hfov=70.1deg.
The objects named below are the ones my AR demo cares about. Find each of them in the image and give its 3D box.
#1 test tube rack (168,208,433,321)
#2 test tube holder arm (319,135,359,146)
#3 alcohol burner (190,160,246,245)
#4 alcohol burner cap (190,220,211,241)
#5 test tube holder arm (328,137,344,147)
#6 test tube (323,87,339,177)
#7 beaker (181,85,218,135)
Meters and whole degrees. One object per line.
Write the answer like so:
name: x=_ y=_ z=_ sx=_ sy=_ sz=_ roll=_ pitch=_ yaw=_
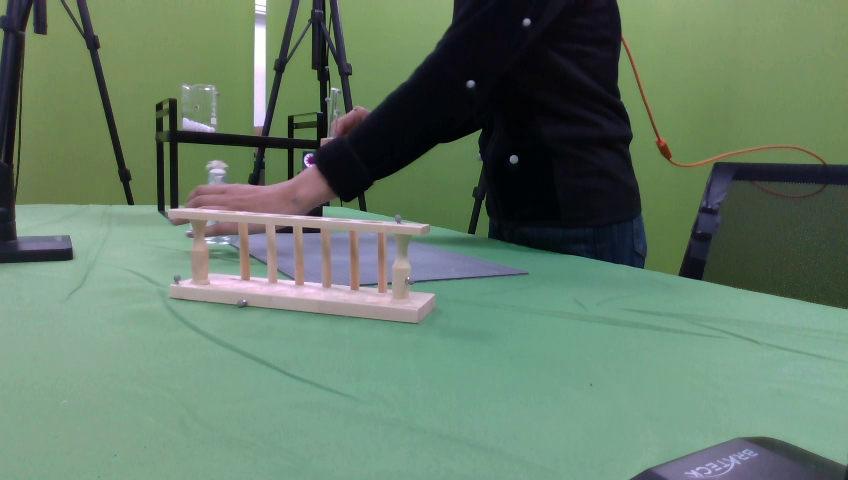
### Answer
test tube rack: x=-0.116 y=0.017 z=0.574 sx=0.242 sy=0.085 sz=0.067 roll=4 pitch=8 yaw=14
test tube holder arm: x=-0.149 y=-0.180 z=1.085 sx=0.013 sy=0.015 sz=0.178 roll=12 pitch=14 yaw=9
alcohol burner: x=-0.294 y=-0.054 z=0.862 sx=0.078 sy=0.119 sz=0.078 roll=2 pitch=8 yaw=0
alcohol burner cap: x=-0.365 y=-0.023 z=0.988 sx=0.034 sy=0.048 sz=0.034 roll=2 pitch=7 yaw=0
test tube holder arm: x=-0.151 y=-0.169 z=1.041 sx=0.010 sy=0.015 sz=0.088 roll=10 pitch=14 yaw=2
test tube: x=-0.156 y=-0.180 z=1.016 sx=0.017 sy=0.150 sz=0.017 roll=6 pitch=12 yaw=-1
beaker: x=-0.479 y=-0.276 z=1.291 sx=0.074 sy=0.100 sz=0.084 roll=2 pitch=8 yaw=-1
